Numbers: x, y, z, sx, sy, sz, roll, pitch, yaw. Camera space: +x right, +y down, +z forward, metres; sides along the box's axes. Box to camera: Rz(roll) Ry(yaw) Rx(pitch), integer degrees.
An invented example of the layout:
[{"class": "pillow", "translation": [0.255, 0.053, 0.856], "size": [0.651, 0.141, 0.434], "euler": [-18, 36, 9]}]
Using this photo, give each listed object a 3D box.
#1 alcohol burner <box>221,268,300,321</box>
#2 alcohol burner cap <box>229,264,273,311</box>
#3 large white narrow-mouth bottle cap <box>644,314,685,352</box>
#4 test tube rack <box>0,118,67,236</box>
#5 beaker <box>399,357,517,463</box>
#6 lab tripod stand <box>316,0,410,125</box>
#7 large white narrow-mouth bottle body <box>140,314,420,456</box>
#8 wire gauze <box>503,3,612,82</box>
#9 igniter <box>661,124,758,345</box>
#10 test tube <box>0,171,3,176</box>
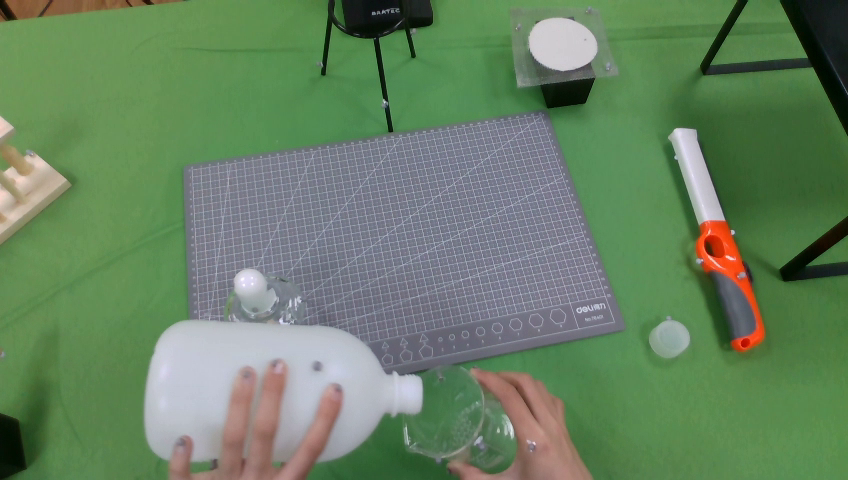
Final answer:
[{"class": "alcohol burner", "translation": [-0.162, 0.057, 0.589], "size": [0.078, 0.120, 0.077], "euler": [1, 62, -2]}, {"class": "alcohol burner cap", "translation": [-0.161, 0.042, 0.556], "size": [0.034, 0.048, 0.033], "euler": [-1, 60, 2]}, {"class": "large white narrow-mouth bottle cap", "translation": [0.251, 0.097, 0.637], "size": [0.038, 0.024, 0.037], "euler": [1, 64, -1]}, {"class": "test tube rack", "translation": [-0.515, -0.020, 0.633], "size": [0.066, 0.086, 0.242], "euler": [36, 68, 14]}, {"class": "beaker", "translation": [0.032, 0.155, 0.530], "size": [0.084, 0.101, 0.073], "euler": [-45, 52, 2]}, {"class": "lab tripod stand", "translation": [-0.066, -0.233, 0.722], "size": [0.148, 0.132, 0.147], "euler": [1, 65, -3]}, {"class": "large white narrow-mouth bottle body", "translation": [-0.101, 0.112, 0.461], "size": [0.195, 0.102, 0.101], "euler": [4, 64, -10]}, {"class": "wire gauze", "translation": [0.163, -0.249, 0.751], "size": [0.121, 0.011, 0.124], "euler": [-3, 64, -3]}, {"class": "igniter", "translation": [0.321, -0.015, 0.688], "size": [0.057, 0.025, 0.274], "euler": [0, 64, -13]}, {"class": "test tube", "translation": [-0.485, -0.105, 0.620], "size": [0.017, 0.151, 0.017], "euler": [-1, 63, 2]}]
